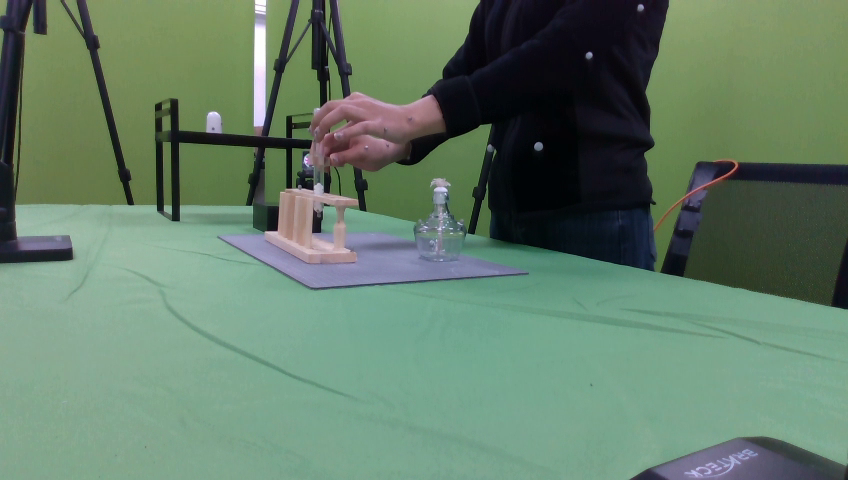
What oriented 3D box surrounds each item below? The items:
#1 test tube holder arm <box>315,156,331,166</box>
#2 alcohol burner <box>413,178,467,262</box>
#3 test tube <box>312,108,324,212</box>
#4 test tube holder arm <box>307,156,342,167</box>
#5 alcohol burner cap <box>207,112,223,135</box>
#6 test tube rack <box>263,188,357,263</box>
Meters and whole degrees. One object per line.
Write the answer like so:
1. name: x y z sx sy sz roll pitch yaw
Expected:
1. test tube holder arm: -0.150 -0.117 0.900 0.010 0.015 0.088 4 6 -1
2. alcohol burner: 0.023 -0.029 0.864 0.078 0.119 0.078 1 7 0
3. test tube: -0.154 -0.115 0.877 0.017 0.150 0.017 1 2 0
4. test tube holder arm: -0.153 -0.122 0.945 0.013 0.015 0.178 5 6 4
5. alcohol burner cap: -0.440 -0.245 1.271 0.034 0.048 0.034 2 8 0
6. test tube rack: -0.175 -0.028 0.890 0.067 0.085 0.241 -1 8 -28
